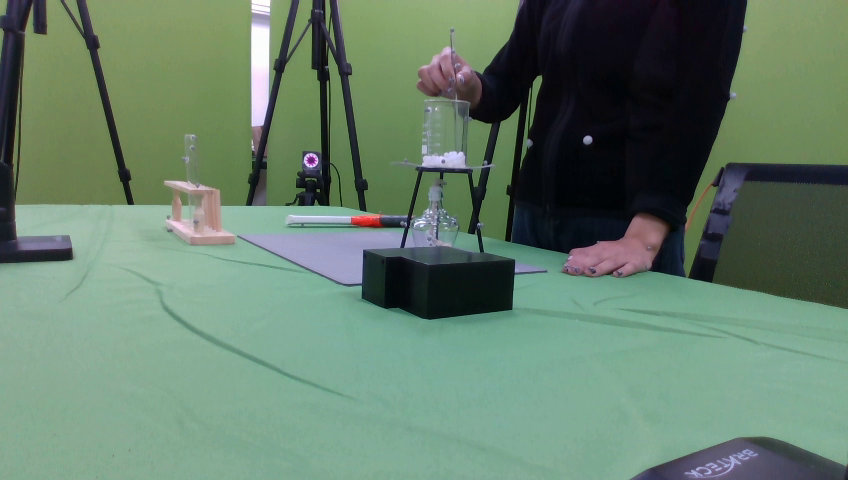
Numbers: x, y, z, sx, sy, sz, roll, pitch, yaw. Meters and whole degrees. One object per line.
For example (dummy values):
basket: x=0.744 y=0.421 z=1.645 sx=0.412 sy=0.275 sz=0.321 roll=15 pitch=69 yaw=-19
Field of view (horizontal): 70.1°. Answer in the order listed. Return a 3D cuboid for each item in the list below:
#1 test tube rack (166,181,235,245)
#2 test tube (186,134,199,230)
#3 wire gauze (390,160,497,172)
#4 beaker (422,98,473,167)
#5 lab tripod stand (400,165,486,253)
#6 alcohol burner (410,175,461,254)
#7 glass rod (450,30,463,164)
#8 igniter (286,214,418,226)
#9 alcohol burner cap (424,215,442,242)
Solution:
test tube rack: x=-0.383 y=-0.051 z=1.024 sx=0.067 sy=0.085 sz=0.241 roll=-2 pitch=9 yaw=-31
test tube: x=-0.360 y=-0.089 z=0.946 sx=0.017 sy=0.150 sz=0.017 roll=0 pitch=10 yaw=0
wire gauze: x=0.028 y=-0.114 z=0.920 sx=0.122 sy=0.011 sz=0.124 roll=-5 pitch=13 yaw=-34
beaker: x=0.031 y=-0.162 z=0.918 sx=0.074 sy=0.100 sz=0.083 roll=-4 pitch=10 yaw=-36
lab tripod stand: x=0.027 y=-0.049 z=0.930 sx=0.148 sy=0.131 sz=0.148 roll=2 pitch=9 yaw=0
alcohol burner: x=0.018 y=-0.040 z=0.931 sx=0.078 sy=0.119 sz=0.078 roll=0 pitch=7 yaw=0
glass rod: x=0.049 y=-0.214 z=0.910 sx=0.008 sy=0.199 sz=0.008 roll=-4 pitch=3 yaw=1
igniter: x=-0.145 y=-0.043 z=1.262 sx=0.278 sy=0.025 sz=0.057 roll=-1 pitch=-2 yaw=-25
alcohol burner cap: x=0.017 y=-0.022 z=1.098 sx=0.034 sy=0.048 sz=0.034 roll=2 pitch=9 yaw=0
